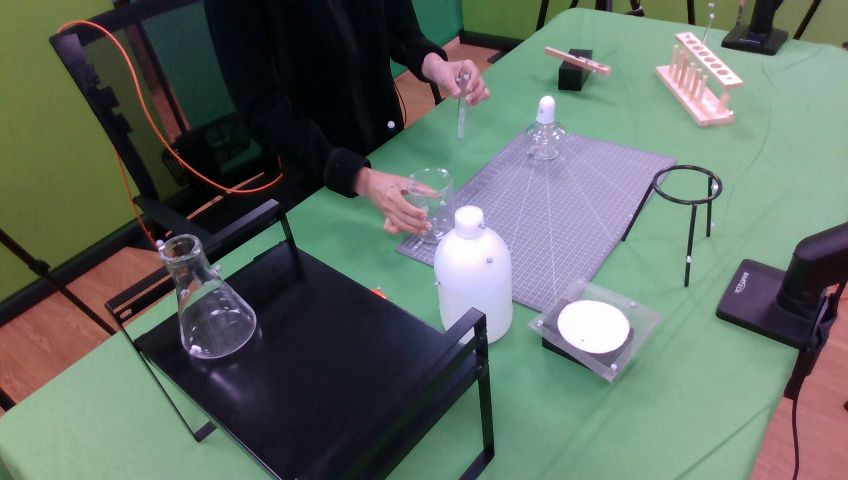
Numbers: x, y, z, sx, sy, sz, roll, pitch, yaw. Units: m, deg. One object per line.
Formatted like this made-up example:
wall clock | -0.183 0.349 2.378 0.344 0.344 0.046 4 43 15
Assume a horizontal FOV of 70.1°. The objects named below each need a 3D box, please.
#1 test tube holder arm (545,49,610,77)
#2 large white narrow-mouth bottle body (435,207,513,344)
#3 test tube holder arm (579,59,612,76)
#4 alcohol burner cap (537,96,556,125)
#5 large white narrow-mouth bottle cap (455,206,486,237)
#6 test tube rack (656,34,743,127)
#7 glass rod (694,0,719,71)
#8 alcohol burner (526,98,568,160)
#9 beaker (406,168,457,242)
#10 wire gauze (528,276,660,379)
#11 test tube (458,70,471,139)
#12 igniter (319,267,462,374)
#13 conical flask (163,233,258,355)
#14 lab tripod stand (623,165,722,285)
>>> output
test tube holder arm | 0.331 -0.387 1.315 0.013 0.015 0.177 -26 43 -29
large white narrow-mouth bottle body | 0.065 0.041 0.791 0.102 0.195 0.101 -4 41 4
test tube holder arm | 0.363 -0.368 1.289 0.010 0.015 0.087 -27 43 -29
alcohol burner cap | 0.223 -0.237 1.095 0.034 0.048 0.033 0 42 1
large white narrow-mouth bottle cap | 0.056 -0.023 0.734 0.038 0.024 0.037 -4 41 4
test tube rack | 0.553 -0.331 1.233 0.067 0.085 0.241 -7 40 2
glass rod | 0.561 -0.401 1.214 0.008 0.200 0.008 -1 48 2
alcohol burner | 0.228 -0.209 1.118 0.078 0.119 0.077 -5 43 5
beaker | 0.018 -0.054 0.962 0.073 0.101 0.084 25 50 36
wire gauze | 0.213 0.103 0.763 0.124 0.011 0.122 30 52 35
test tube | 0.073 -0.243 1.100 0.017 0.151 0.017 0 52 0
igniter | -0.059 0.107 0.862 0.274 0.025 0.057 28 62 34
conical flask | -0.217 0.051 0.601 0.075 0.122 0.075 -4 40 4
lab tripod stand | 0.365 -0.030 0.875 0.148 0.132 0.147 -6 41 6
